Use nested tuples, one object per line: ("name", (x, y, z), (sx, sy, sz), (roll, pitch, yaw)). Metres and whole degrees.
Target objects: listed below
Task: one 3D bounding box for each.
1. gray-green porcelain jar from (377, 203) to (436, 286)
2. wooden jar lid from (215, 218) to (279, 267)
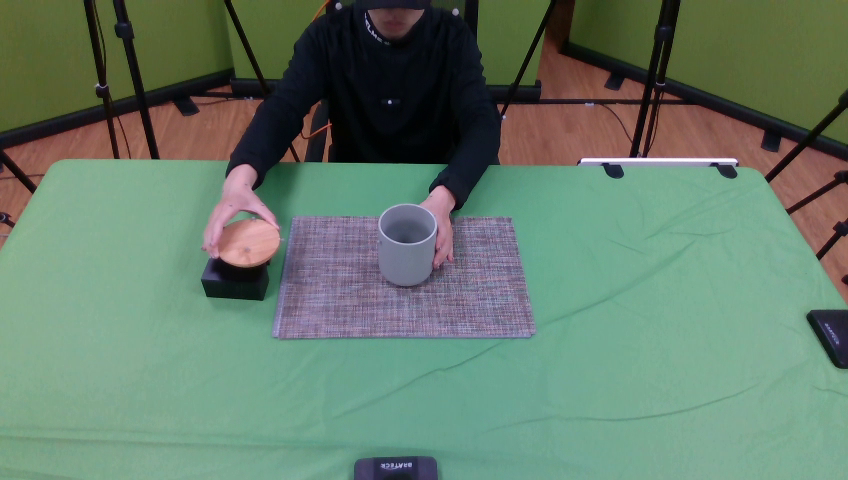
("gray-green porcelain jar", (-0.033, 0.014, 1.106), (0.106, 0.127, 0.105), (2, 46, -2))
("wooden jar lid", (-0.309, 0.007, 1.064), (0.108, 0.021, 0.107), (4, 48, -4))
